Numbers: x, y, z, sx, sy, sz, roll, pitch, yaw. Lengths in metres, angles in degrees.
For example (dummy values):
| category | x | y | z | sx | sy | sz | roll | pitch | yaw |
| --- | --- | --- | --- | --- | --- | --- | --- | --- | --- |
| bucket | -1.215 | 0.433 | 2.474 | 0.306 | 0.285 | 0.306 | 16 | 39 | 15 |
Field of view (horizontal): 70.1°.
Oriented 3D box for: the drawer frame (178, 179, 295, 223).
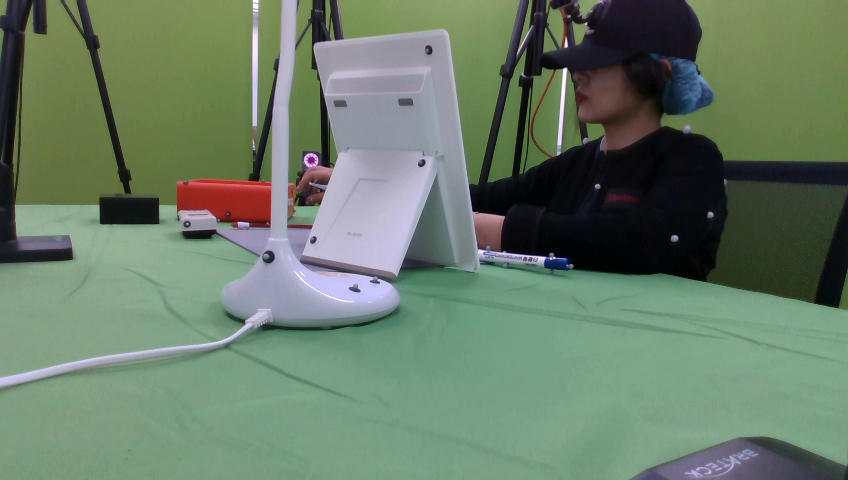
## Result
| category | x | y | z | sx | sy | sz | roll | pitch | yaw |
| --- | --- | --- | --- | --- | --- | --- | --- | --- | --- |
| drawer frame | -0.397 | -0.088 | 1.315 | 0.214 | 0.082 | 0.201 | 1 | 8 | -7 |

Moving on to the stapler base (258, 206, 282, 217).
| category | x | y | z | sx | sy | sz | roll | pitch | yaw |
| --- | --- | --- | --- | --- | --- | --- | --- | --- | --- |
| stapler base | -0.331 | -0.065 | 1.305 | 0.041 | 0.024 | 0.130 | 9 | -1 | -9 |

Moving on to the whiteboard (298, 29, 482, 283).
| category | x | y | z | sx | sy | sz | roll | pitch | yaw |
| --- | --- | --- | --- | --- | --- | --- | --- | --- | --- |
| whiteboard | -0.075 | -0.082 | 0.742 | 0.216 | 0.305 | 0.144 | 9 | 29 | 37 |

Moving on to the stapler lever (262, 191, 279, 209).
| category | x | y | z | sx | sy | sz | roll | pitch | yaw |
| --- | --- | --- | --- | --- | --- | --- | --- | --- | --- |
| stapler lever | -0.329 | -0.086 | 1.306 | 0.027 | 0.040 | 0.118 | 9 | 3 | -9 |

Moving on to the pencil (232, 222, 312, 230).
| category | x | y | z | sx | sy | sz | roll | pitch | yaw |
| --- | --- | --- | --- | --- | --- | --- | --- | --- | --- |
| pencil | -0.261 | -0.025 | 1.141 | 0.195 | 0.012 | 0.012 | 2 | 7 | -26 |

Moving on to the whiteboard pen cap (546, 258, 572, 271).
| category | x | y | z | sx | sy | sz | roll | pitch | yaw |
| --- | --- | --- | --- | --- | --- | --- | --- | --- | --- |
| whiteboard pen cap | 0.175 | 0.032 | 0.790 | 0.033 | 0.018 | 0.018 | 3 | 6 | 37 |

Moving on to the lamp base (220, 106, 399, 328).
| category | x | y | z | sx | sy | sz | roll | pitch | yaw |
| --- | --- | --- | --- | --- | --- | --- | --- | --- | --- |
| lamp base | -0.101 | -0.023 | 0.531 | 0.160 | 0.180 | 0.179 | 4 | 10 | 10 |

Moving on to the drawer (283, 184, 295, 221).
| category | x | y | z | sx | sy | sz | roll | pitch | yaw |
| --- | --- | --- | --- | --- | --- | --- | --- | --- | --- |
| drawer | -0.394 | -0.086 | 1.317 | 0.212 | 0.073 | 0.194 | 1 | 8 | -7 |

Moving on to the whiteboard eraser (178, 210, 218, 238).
| category | x | y | z | sx | sy | sz | roll | pitch | yaw |
| --- | --- | --- | --- | --- | --- | --- | --- | --- | --- |
| whiteboard eraser | -0.380 | -0.027 | 1.014 | 0.056 | 0.042 | 0.112 | 0 | 8 | -25 |

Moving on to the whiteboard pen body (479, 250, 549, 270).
| category | x | y | z | sx | sy | sz | roll | pitch | yaw |
| --- | --- | --- | --- | --- | --- | --- | --- | --- | --- |
| whiteboard pen body | 0.130 | 0.028 | 0.827 | 0.140 | 0.017 | 0.017 | 7 | 9 | 38 |
